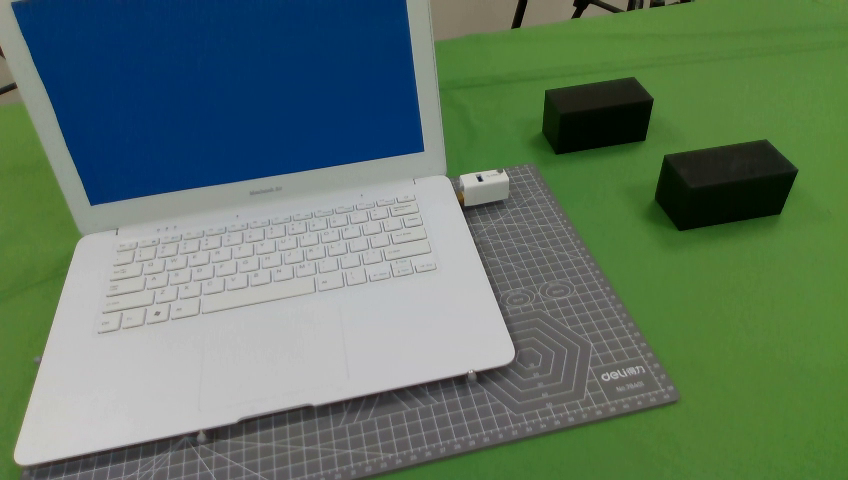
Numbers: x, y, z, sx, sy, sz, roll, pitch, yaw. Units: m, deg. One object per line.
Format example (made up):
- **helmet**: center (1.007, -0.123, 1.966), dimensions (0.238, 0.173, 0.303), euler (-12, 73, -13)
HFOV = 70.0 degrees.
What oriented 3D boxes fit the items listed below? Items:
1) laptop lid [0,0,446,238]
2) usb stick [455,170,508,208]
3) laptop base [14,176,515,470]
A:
- **laptop lid**: center (-0.163, -0.131, 0.536), dimensions (0.357, 0.243, 0.013), euler (-12, 28, -6)
- **usb stick**: center (0.049, -0.048, 0.580), dimensions (0.059, 0.027, 0.021), euler (-12, 44, -5)
- **laptop base**: center (-0.126, 0.049, 0.507), dimensions (0.355, 0.023, 0.233), euler (-11, 46, -7)
